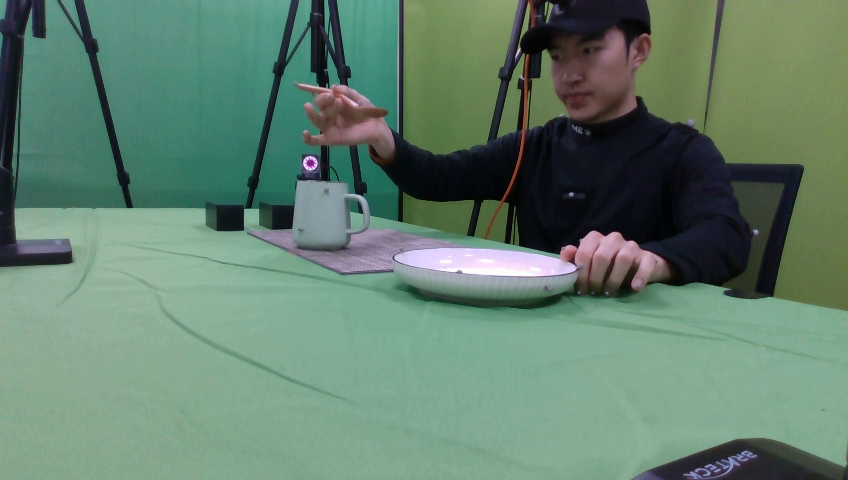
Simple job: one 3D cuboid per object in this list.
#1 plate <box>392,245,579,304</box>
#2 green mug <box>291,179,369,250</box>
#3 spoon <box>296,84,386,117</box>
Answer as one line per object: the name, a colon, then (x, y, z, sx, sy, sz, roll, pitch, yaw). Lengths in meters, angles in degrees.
plate: (0.066, 0.038, 0.683, 0.209, 0.038, 0.209, 2, 7, 0)
green mug: (-0.144, -0.040, 0.944, 0.125, 0.105, 0.093, 4, 7, 16)
spoon: (-0.130, -0.215, 0.913, 0.193, 0.021, 0.042, 29, 15, 35)
